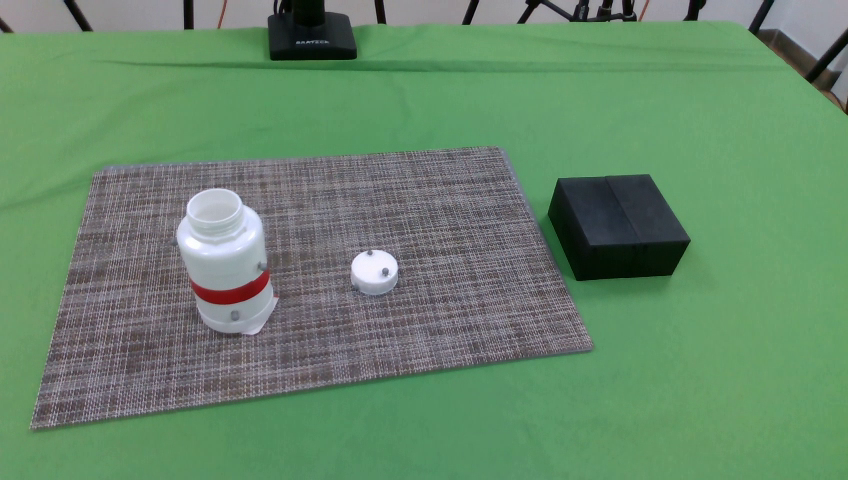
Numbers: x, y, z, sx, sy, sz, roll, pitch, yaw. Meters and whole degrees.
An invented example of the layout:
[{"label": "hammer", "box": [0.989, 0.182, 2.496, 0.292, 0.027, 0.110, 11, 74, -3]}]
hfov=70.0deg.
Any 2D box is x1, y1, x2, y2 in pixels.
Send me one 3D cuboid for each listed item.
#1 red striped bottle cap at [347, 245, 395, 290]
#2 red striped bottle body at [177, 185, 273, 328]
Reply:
[{"label": "red striped bottle cap", "box": [-0.049, 0.025, 0.565, 0.044, 0.018, 0.044, 8, 43, -7]}, {"label": "red striped bottle body", "box": [-0.160, 0.013, 0.491, 0.063, 0.120, 0.062, 3, 46, -3]}]
